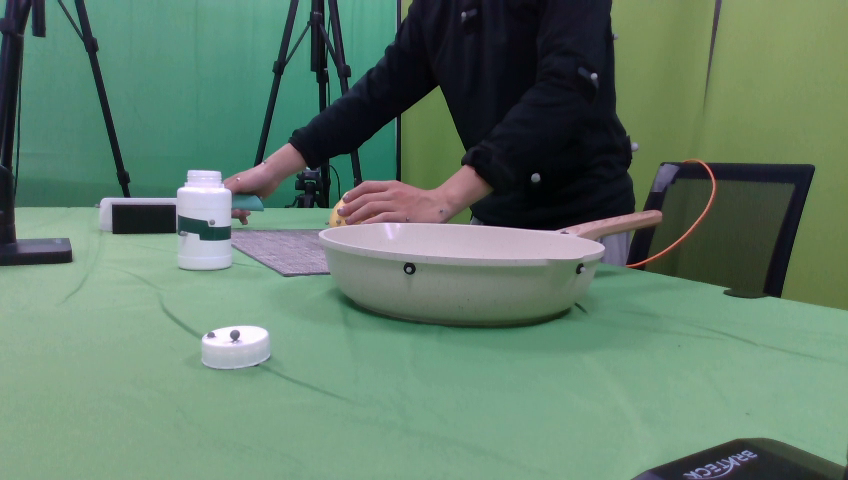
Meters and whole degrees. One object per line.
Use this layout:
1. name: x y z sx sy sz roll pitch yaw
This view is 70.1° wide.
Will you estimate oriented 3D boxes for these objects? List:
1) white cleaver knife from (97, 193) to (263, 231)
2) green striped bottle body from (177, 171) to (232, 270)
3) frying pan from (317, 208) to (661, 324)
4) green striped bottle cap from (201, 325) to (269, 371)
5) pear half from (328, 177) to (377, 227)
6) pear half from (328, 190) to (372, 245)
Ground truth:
1. white cleaver knife: -0.444 -0.053 1.121 0.288 0.066 0.021 -4 16 -27
2. green striped bottle body: -0.273 -0.026 0.752 0.063 0.119 0.063 2 7 0
3. frying pan: 0.121 0.006 0.691 0.490 0.102 0.305 -13 15 -33
4. green striped bottle cap: -0.129 0.073 0.415 0.044 0.020 0.044 3 8 0
5. pear half: -0.108 -0.043 0.944 0.077 0.110 0.055 -4 9 -25
6. pear half: -0.122 -0.037 0.978 0.071 0.088 0.031 -4 8 -25
